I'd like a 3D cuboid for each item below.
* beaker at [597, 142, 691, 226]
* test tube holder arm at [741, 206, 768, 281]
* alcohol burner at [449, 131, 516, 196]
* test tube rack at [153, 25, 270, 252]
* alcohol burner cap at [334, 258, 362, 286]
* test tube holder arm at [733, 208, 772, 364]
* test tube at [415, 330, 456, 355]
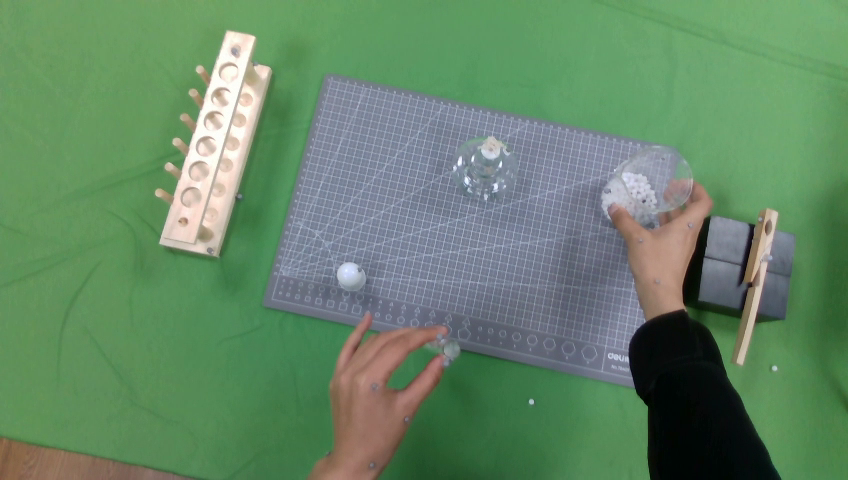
[{"bbox_3d":[0.242,-0.059,0.690,0.084,0.100,0.073,11,78,2],"label":"beaker"},{"bbox_3d":[0.370,0.005,0.679,0.010,0.015,0.087,15,81,3],"label":"test tube holder arm"},{"bbox_3d":[0.067,-0.091,0.682,0.078,0.119,0.077,0,79,0],"label":"alcohol burner"},{"bbox_3d":[-0.248,-0.116,0.691,0.067,0.085,0.241,13,79,1],"label":"test tube rack"},{"bbox_3d":[-0.088,0.035,0.689,0.034,0.048,0.033,1,80,-3],"label":"alcohol burner cap"},{"bbox_3d":[0.364,0.049,0.671,0.013,0.015,0.178,13,80,2],"label":"test tube holder arm"},{"bbox_3d":[0.009,0.094,0.561,0.017,0.150,0.017,1,83,-8],"label":"test tube"}]
